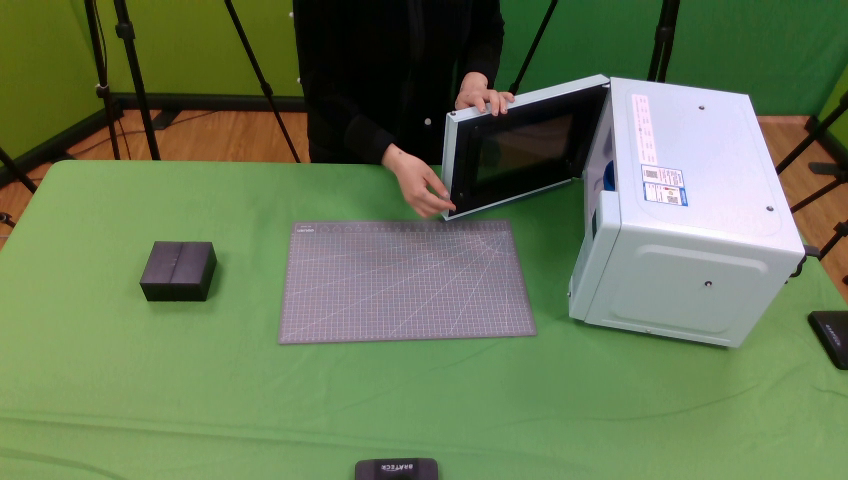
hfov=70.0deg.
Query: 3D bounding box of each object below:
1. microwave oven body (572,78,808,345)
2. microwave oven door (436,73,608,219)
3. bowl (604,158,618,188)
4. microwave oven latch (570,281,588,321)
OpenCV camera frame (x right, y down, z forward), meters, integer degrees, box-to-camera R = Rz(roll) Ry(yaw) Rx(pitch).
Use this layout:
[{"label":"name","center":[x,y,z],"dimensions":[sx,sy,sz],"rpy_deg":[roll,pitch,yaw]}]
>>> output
[{"label":"microwave oven body","center":[0.455,-0.063,1.125],"dimensions":[0.326,0.261,0.439],"rpy_deg":[8,45,5]},{"label":"microwave oven door","center":[0.196,-0.188,1.218],"dimensions":[0.356,0.245,0.039],"rpy_deg":[-19,51,-21]},{"label":"bowl","center":[0.422,-0.094,1.194],"dimensions":[0.151,0.077,0.150],"rpy_deg":[4,48,-4]},{"label":"microwave oven latch","center":[0.275,0.105,1.083],"dimensions":[0.030,0.029,0.079],"rpy_deg":[9,45,6]}]
